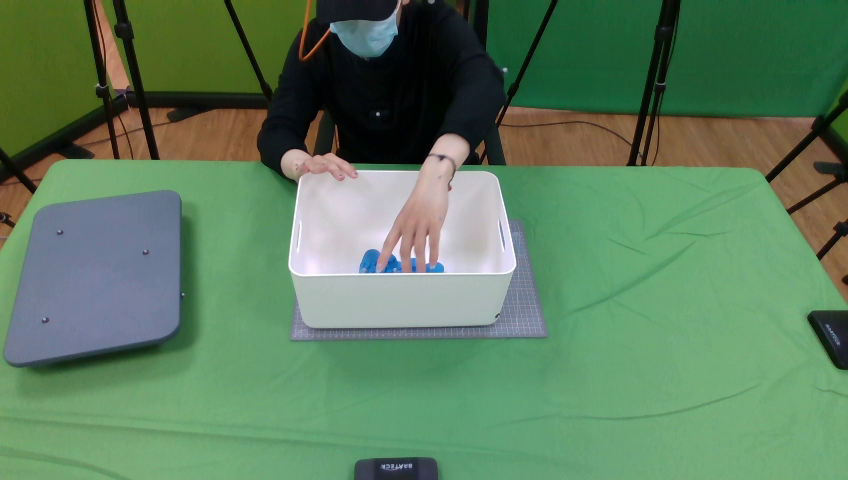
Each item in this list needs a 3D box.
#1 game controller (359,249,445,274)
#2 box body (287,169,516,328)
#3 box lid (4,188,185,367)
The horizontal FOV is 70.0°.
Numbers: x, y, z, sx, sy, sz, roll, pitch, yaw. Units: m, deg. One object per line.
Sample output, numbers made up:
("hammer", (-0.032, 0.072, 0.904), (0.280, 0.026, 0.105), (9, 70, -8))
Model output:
("game controller", (-0.043, 0.057, 1.108), (0.155, 0.052, 0.096), (11, 50, 7))
("box body", (-0.040, 0.015, 1.075), (0.364, 0.161, 0.252), (-1, 47, -4))
("box lid", (-0.558, 0.048, 1.060), (0.264, 0.015, 0.369), (-10, 48, -12))
